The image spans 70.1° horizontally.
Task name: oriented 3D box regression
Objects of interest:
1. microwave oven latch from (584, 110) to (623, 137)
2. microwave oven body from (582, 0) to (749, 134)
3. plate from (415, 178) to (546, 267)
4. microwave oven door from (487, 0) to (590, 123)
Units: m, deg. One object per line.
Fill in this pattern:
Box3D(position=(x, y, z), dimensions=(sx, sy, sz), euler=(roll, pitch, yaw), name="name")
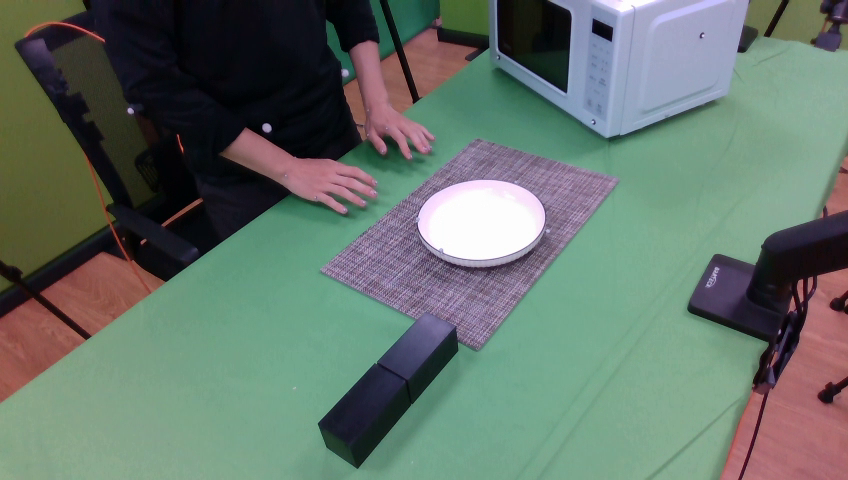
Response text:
Box3D(position=(0.337, -0.222, 1.142), dimensions=(0.030, 0.029, 0.078), euler=(-21, 42, -14), name="microwave oven latch")
Box3D(position=(0.382, -0.444, 1.246), dimensions=(0.327, 0.261, 0.437), euler=(-22, 42, -16), name="microwave oven body")
Box3D(position=(0.091, -0.026, 0.970), dimensions=(0.207, 0.039, 0.206), euler=(-4, 41, 4), name="plate")
Box3D(position=(0.232, -0.420, 1.231), dimensions=(0.039, 0.245, 0.352), euler=(-22, 43, -16), name="microwave oven door")
